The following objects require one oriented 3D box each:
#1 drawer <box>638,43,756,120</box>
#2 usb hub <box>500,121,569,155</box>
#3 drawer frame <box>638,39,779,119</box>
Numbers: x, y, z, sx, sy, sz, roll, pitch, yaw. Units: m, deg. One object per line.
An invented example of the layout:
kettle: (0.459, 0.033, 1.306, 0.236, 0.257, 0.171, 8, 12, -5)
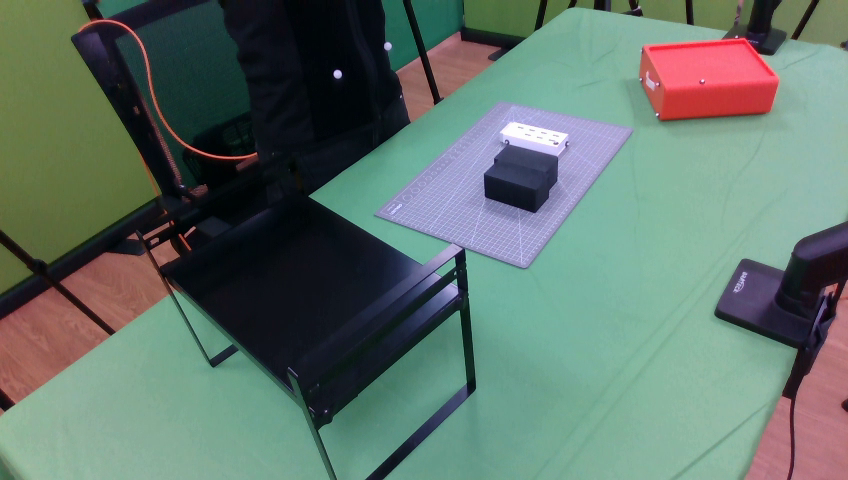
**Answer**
drawer: (0.562, -0.327, 1.229, 0.212, 0.073, 0.193, -2, 40, 5)
usb hub: (0.212, -0.198, 1.167, 0.124, 0.025, 0.049, 20, 48, 28)
drawer frame: (0.563, -0.329, 1.227, 0.213, 0.083, 0.200, -3, 40, 5)
